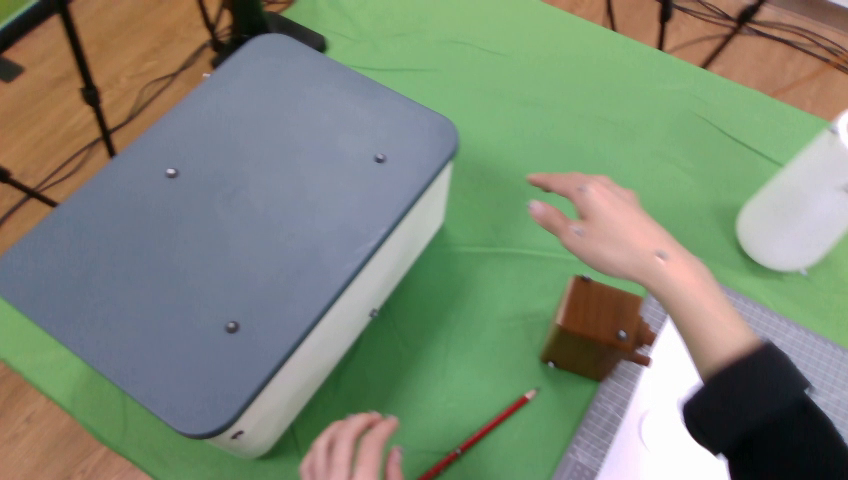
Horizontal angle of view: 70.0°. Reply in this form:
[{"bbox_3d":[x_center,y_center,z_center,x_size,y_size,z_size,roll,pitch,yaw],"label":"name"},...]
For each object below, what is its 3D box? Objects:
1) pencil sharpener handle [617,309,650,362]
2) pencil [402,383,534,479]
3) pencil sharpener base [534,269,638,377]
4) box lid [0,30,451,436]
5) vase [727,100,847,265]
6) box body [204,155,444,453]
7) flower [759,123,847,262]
[{"bbox_3d":[0.208,0.096,0.586,0.030,0.068,0.036,18,56,9],"label":"pencil sharpener handle"},{"bbox_3d":[0.037,0.198,0.599,0.194,0.012,0.012,-32,66,-19],"label":"pencil"},{"bbox_3d":[0.161,0.086,0.605,0.076,0.108,0.061,18,61,9],"label":"pencil sharpener base"},{"bbox_3d":[-0.169,-0.040,0.552,0.262,0.015,0.370,30,64,14],"label":"box lid"},{"bbox_3d":[0.401,-0.055,0.634,0.098,0.201,0.097,0,59,0],"label":"vase"},{"bbox_3d":[-0.170,-0.002,0.617,0.253,0.161,0.363,29,65,15],"label":"box body"},{"bbox_3d":[0.402,-0.109,0.568,0.044,0.364,0.038,22,45,15],"label":"flower"}]
